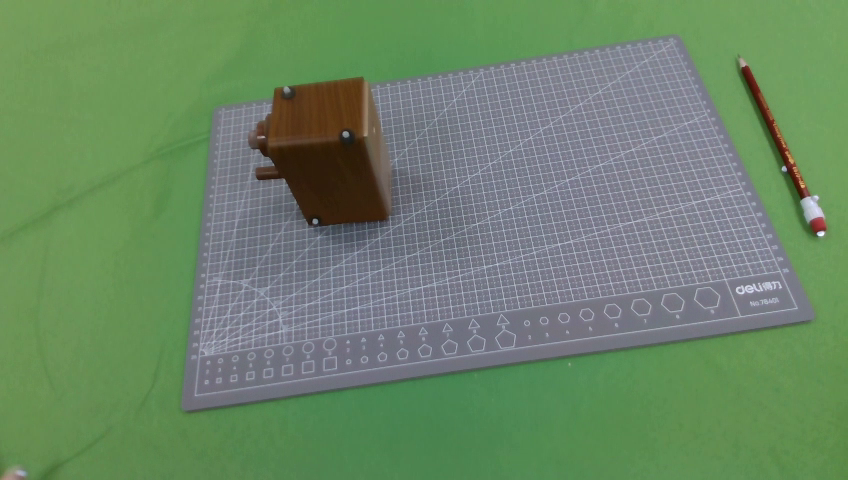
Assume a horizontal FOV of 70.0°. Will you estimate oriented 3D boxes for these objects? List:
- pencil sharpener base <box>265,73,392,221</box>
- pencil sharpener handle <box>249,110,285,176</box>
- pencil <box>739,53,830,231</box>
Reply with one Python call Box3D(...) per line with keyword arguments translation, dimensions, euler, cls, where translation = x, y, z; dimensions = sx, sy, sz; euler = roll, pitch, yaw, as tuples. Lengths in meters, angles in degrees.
Box3D(translation=(-0.071, -0.067, 0.470), dimensions=(0.076, 0.108, 0.061), euler=(-6, 59, 4), cls="pencil sharpener base")
Box3D(translation=(-0.123, -0.070, 0.464), dimensions=(0.030, 0.068, 0.035), euler=(-6, 63, 4), cls="pencil sharpener handle")
Box3D(translation=(0.292, -0.089, 0.500), dimensions=(0.012, 0.012, 0.192), euler=(-6, 57, 4), cls="pencil")
